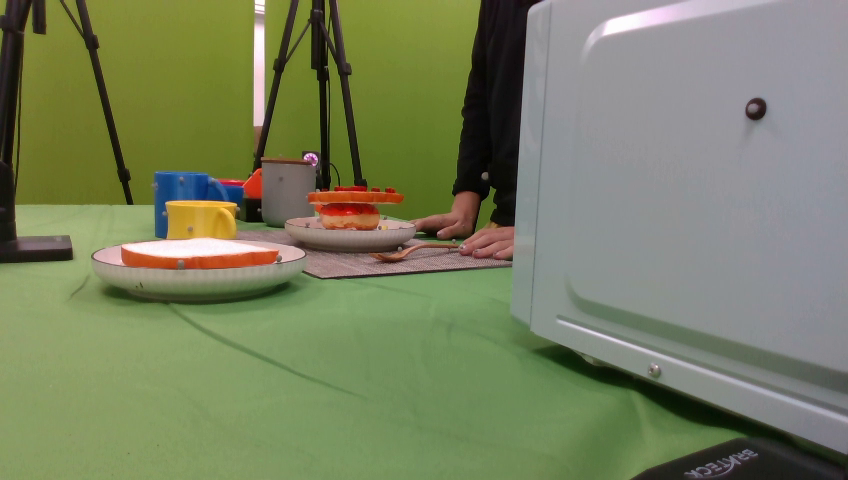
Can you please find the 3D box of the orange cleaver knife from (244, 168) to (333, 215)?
[{"bbox_3d":[-0.300,-0.089,1.351,0.212,0.077,0.012,28,-9,-34],"label":"orange cleaver knife"}]

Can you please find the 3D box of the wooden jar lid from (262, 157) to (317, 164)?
[{"bbox_3d":[-0.269,-0.154,1.208,0.108,0.020,0.108,3,4,0],"label":"wooden jar lid"}]

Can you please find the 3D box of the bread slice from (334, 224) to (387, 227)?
[{"bbox_3d":[-0.103,-0.010,0.961,0.131,0.019,0.105,3,9,25],"label":"bread slice"}]

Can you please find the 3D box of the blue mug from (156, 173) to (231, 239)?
[{"bbox_3d":[-0.381,-0.057,1.004,0.117,0.106,0.082,0,8,-12],"label":"blue mug"}]

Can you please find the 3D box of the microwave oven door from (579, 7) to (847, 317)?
[{"bbox_3d":[0.294,-0.067,0.570,0.358,0.243,0.039,-3,9,-31],"label":"microwave oven door"}]

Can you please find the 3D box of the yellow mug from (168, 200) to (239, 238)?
[{"bbox_3d":[-0.320,-0.023,0.904,0.130,0.064,0.100,9,11,36],"label":"yellow mug"}]

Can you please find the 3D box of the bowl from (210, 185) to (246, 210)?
[{"bbox_3d":[-0.422,-0.067,1.167,0.151,0.077,0.151,2,7,0],"label":"bowl"}]

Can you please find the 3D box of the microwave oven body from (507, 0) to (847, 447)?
[{"bbox_3d":[0.331,-0.042,0.425,0.444,0.260,0.324,-2,8,-31],"label":"microwave oven body"}]

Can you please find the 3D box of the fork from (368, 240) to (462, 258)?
[{"bbox_3d":[-0.005,0.011,0.874,0.028,0.018,0.208,-2,5,37],"label":"fork"}]

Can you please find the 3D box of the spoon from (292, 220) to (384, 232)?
[{"bbox_3d":[-0.154,-0.028,1.123,0.195,0.021,0.041,-5,-11,-39],"label":"spoon"}]

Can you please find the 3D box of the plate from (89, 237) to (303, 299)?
[{"bbox_3d":[-0.233,0.029,0.637,0.208,0.039,0.207,2,7,0],"label":"plate"}]

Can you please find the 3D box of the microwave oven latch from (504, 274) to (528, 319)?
[{"bbox_3d":[0.100,0.041,0.471,0.079,0.029,0.030,-1,7,-28],"label":"microwave oven latch"}]

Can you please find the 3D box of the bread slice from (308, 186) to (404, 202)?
[{"bbox_3d":[-0.114,-0.071,0.952,0.134,0.018,0.107,-1,1,21],"label":"bread slice"}]

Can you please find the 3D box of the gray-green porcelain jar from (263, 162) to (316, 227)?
[{"bbox_3d":[-0.271,-0.092,1.217,0.106,0.126,0.106,2,7,0],"label":"gray-green porcelain jar"}]

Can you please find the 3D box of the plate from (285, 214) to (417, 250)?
[{"bbox_3d":[-0.116,-0.014,0.964,0.209,0.038,0.209,2,7,0],"label":"plate"}]
